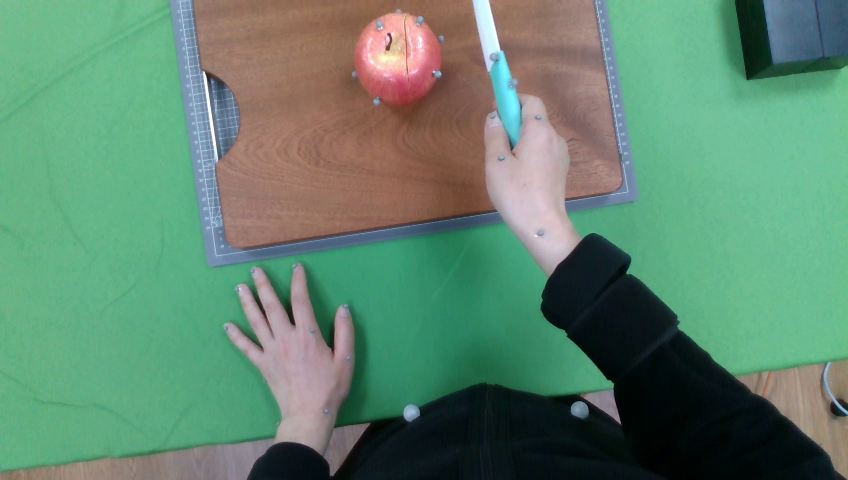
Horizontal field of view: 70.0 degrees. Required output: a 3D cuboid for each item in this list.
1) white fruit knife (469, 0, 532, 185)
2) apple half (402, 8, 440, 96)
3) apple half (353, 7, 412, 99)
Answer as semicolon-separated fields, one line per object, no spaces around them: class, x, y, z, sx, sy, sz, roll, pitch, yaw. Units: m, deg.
white fruit knife;0.057;-0.149;0.501;0.016;0.027;0.207;-16;93;-30
apple half;-0.001;-0.175;0.569;0.033;0.081;0.081;-3;87;3
apple half;-0.039;-0.173;0.570;0.053;0.074;0.081;-4;91;5
